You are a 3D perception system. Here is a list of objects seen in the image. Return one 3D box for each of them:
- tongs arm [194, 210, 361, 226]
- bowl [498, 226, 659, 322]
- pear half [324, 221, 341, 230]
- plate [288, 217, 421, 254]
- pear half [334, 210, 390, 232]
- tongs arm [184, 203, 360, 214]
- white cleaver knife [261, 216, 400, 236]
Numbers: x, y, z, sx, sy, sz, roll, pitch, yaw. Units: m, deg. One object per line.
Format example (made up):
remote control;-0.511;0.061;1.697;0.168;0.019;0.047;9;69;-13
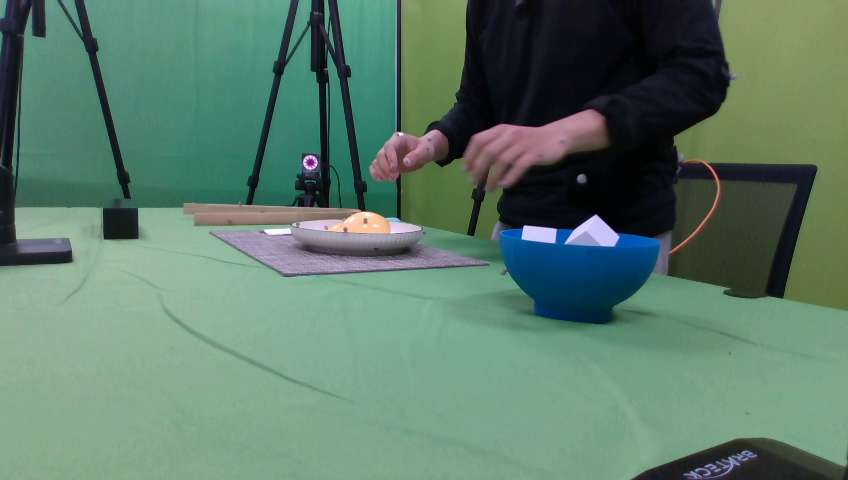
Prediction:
tongs arm;-0.298;-0.049;1.307;0.390;0.028;0.028;-3;8;-37
bowl;0.145;0.032;0.584;0.151;0.077;0.151;2;7;0
pear half;-0.126;-0.019;1.001;0.088;0.031;0.070;8;3;2
plate;-0.109;-0.007;0.956;0.208;0.039;0.207;2;7;0
pear half;-0.108;-0.016;0.920;0.110;0.056;0.076;-4;5;-20
tongs arm;-0.337;-0.065;1.376;0.387;0.026;0.050;0;9;-25
white cleaver knife;-0.168;-0.022;1.156;0.288;0.021;0.065;-7;19;-33
